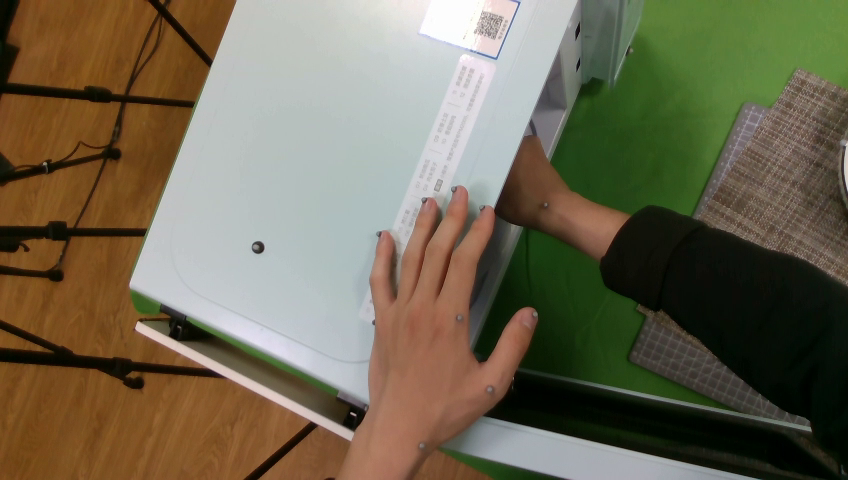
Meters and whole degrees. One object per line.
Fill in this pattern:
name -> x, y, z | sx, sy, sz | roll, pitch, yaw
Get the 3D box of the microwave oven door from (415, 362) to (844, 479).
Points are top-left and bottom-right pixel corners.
microwave oven door -> 0.192, 0.170, 0.517 | 0.354, 0.245, 0.039 | 8, 88, 15

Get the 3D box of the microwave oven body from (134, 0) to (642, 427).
microwave oven body -> -0.021, -0.102, 0.593 | 0.324, 0.261, 0.441 | 22, 93, 14

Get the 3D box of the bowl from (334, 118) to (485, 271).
bowl -> -0.006, -0.040, 0.617 | 0.151, 0.077, 0.151 | -1, 85, 14

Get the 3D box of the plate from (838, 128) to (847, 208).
plate -> 0.503, -0.066, 0.568 | 0.208, 0.038, 0.208 | -1, 85, 14

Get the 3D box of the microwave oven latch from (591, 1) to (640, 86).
microwave oven latch -> 0.202, -0.206, 0.641 | 0.030, 0.029, 0.079 | 23, 93, 15
